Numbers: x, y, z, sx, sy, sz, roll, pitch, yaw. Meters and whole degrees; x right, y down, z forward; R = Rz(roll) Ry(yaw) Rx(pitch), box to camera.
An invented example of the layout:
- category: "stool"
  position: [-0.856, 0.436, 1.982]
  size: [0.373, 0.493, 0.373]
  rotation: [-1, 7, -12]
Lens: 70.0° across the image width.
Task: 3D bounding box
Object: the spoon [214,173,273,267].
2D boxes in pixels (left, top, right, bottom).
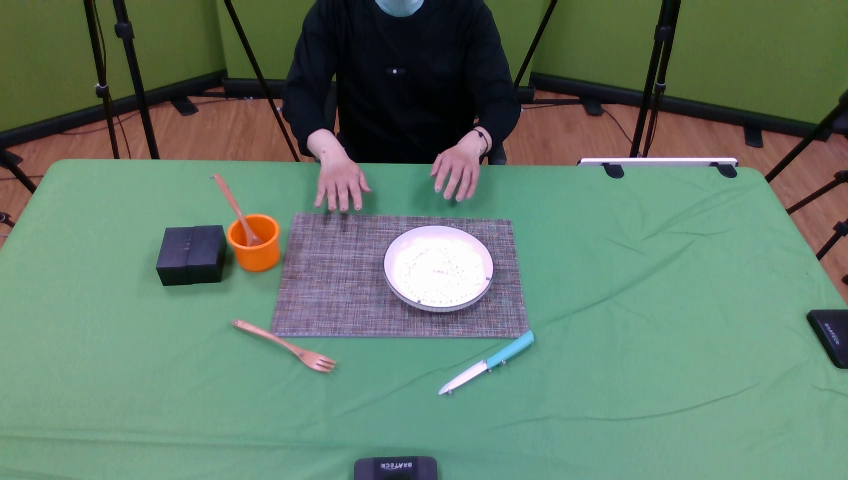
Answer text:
- category: "spoon"
  position: [-0.336, -0.037, 1.121]
  size: [0.041, 0.194, 0.021]
  rotation: [-29, 10, -24]

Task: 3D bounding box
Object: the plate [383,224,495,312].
- category: "plate"
  position: [0.026, 0.055, 1.128]
  size: [0.209, 0.038, 0.208]
  rotation: [2, 46, -2]

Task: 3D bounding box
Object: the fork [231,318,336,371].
- category: "fork"
  position: [-0.239, 0.173, 1.014]
  size: [0.207, 0.019, 0.028]
  rotation: [23, 55, 15]

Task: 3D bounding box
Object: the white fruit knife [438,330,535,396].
- category: "white fruit knife"
  position: [0.108, 0.206, 1.009]
  size: [0.207, 0.016, 0.027]
  rotation: [-27, 30, -22]
